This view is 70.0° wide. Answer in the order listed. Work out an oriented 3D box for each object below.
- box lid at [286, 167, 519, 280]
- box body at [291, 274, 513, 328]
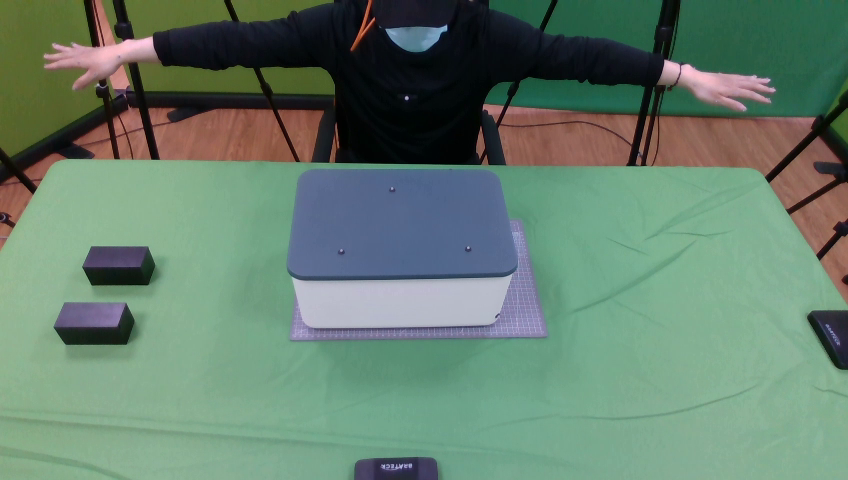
[{"bbox_3d":[-0.035,-0.036,1.021,0.372,0.015,0.261,-1,46,-4],"label":"box lid"},{"bbox_3d":[-0.040,0.015,1.075,0.364,0.161,0.252,-1,47,-4],"label":"box body"}]
